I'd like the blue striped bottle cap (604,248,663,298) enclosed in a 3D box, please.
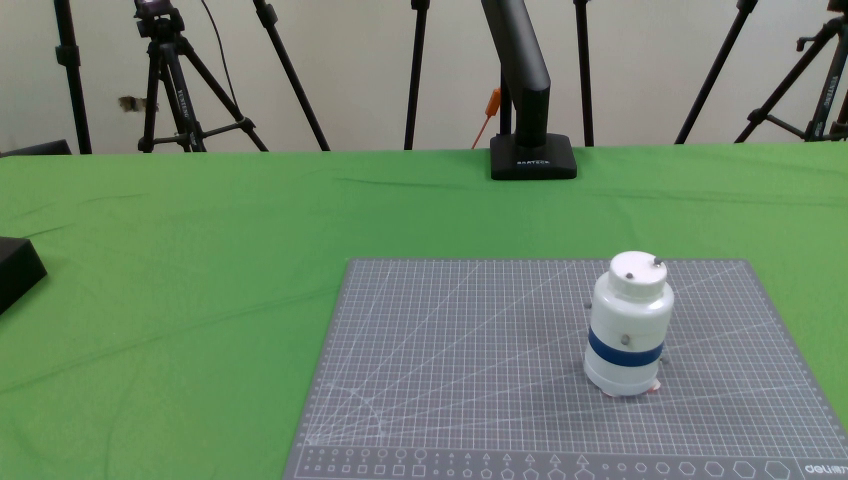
[{"bbox_3d":[0.168,0.026,0.487,0.044,0.021,0.044,-1,36,1],"label":"blue striped bottle cap"}]

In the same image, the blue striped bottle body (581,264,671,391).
[{"bbox_3d":[0.172,0.067,0.517,0.063,0.122,0.062,-2,36,2],"label":"blue striped bottle body"}]
